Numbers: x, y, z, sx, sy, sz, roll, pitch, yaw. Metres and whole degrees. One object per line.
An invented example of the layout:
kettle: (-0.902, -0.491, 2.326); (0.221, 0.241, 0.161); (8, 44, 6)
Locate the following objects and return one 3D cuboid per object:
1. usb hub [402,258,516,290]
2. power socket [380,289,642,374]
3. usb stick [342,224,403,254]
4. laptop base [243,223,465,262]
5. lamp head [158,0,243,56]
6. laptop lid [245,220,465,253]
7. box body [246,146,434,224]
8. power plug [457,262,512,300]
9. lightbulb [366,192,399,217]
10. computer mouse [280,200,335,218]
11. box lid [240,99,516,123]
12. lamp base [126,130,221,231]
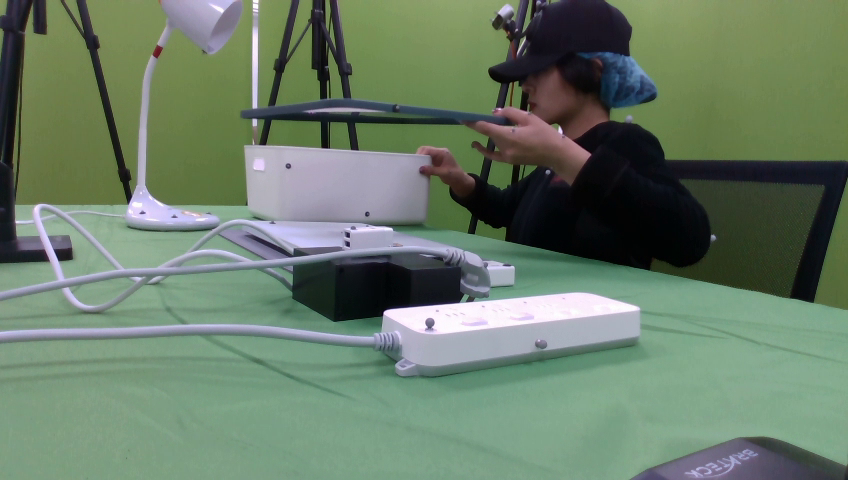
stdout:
usb hub: (0.041, 0.038, 0.690); (0.126, 0.025, 0.049); (-2, 10, -30)
power socket: (0.072, 0.064, 0.461); (0.228, 0.032, 0.072); (-2, 8, -30)
usb stick: (-0.047, -0.001, 0.567); (0.059, 0.027, 0.021); (0, 5, -32)
laptop base: (-0.127, 0.003, 0.946); (0.237, 0.023, 0.352); (2, 6, -31)
lamp head: (-0.399, -0.397, 1.057); (0.123, 0.112, 0.112); (27, 5, -7)
laptop lid: (-0.124, -0.009, 0.945); (0.243, 0.013, 0.355); (1, 7, -29)
box body: (-0.189, -0.123, 1.355); (0.366, 0.160, 0.253); (-3, 8, -32)
power plug: (0.052, 0.051, 0.543); (0.035, 0.052, 0.072); (5, 37, -20)
lightbulb: (-0.094, -0.078, 1.431); (0.059, 0.059, 0.108); (7, -10, 33)
computer mouse: (-0.254, -0.067, 1.324); (0.118, 0.041, 0.062); (4, 3, -33)
box lid: (-0.063, -0.191, 0.926); (0.373, 0.015, 0.262); (-9, 11, -44)
lamp base: (-0.469, -0.112, 1.108); (0.179, 0.180, 0.160); (0, 7, 3)
